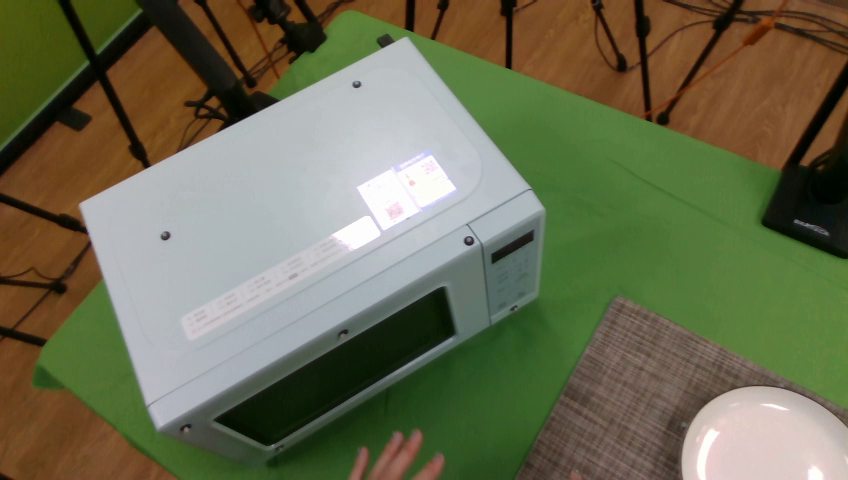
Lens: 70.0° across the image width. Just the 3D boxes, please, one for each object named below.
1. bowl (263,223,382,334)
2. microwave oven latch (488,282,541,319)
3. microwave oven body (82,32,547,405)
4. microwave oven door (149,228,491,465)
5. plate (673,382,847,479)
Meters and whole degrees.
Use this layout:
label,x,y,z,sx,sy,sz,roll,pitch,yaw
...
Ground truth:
label,x,y,z,sx,sy,sz,roll,pitch,yaw
bowl,-0.121,0.061,0.779,0.151,0.077,0.150,-4,58,6
microwave oven latch,0.118,0.073,0.808,0.079,0.030,0.030,-28,63,-6
microwave oven body,-0.121,0.006,0.766,0.442,0.262,0.323,-30,63,-7
microwave oven door,-0.087,0.131,0.690,0.356,0.246,0.039,-30,62,-8
plate,0.388,0.267,0.685,0.207,0.039,0.206,-3,62,6
